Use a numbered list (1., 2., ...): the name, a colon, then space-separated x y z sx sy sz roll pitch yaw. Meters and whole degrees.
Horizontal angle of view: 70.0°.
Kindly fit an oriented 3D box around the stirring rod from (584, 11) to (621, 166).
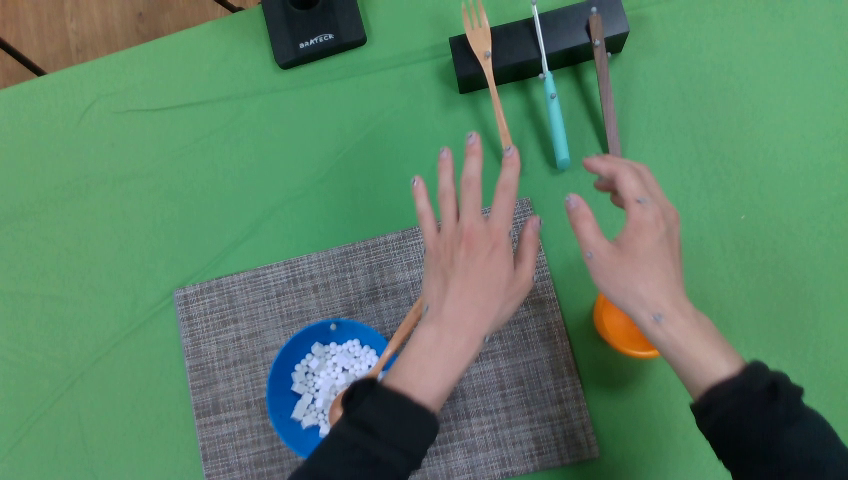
1. stirring rod: 0.206 -0.172 0.696 0.014 0.006 0.176 -12 100 4

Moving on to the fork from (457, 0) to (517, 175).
1. fork: 0.076 -0.175 0.702 0.028 0.018 0.208 -17 100 3

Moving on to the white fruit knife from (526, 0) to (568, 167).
1. white fruit knife: 0.138 -0.186 0.696 0.016 0.027 0.208 -13 96 2

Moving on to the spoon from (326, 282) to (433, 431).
1. spoon: -0.044 0.124 0.636 0.041 0.021 0.194 36 106 6

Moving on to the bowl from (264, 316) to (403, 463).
1. bowl: -0.091 0.161 0.670 0.151 0.077 0.151 -1 81 7
